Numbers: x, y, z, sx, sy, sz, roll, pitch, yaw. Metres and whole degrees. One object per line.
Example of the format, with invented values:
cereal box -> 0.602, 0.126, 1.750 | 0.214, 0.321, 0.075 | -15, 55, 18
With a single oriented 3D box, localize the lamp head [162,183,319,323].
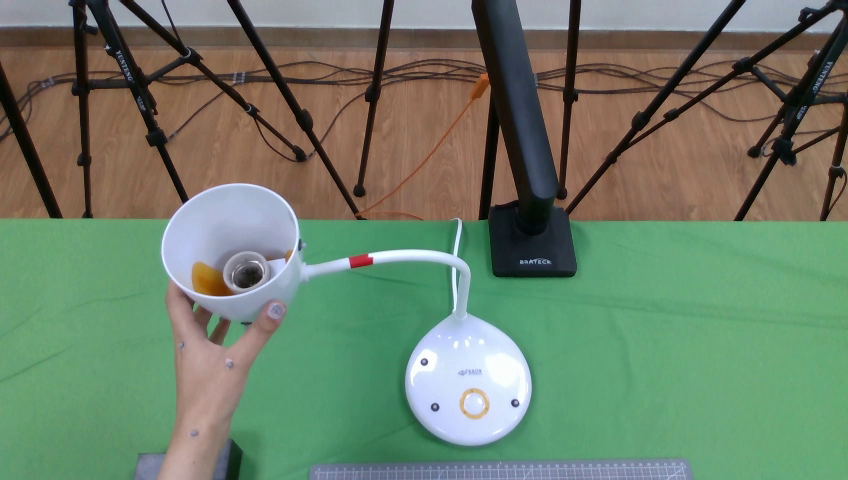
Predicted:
lamp head -> -0.157, 0.024, 0.552 | 0.112, 0.124, 0.111 | -2, 62, 4

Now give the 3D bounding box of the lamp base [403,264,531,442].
lamp base -> 0.051, 0.122, 0.708 | 0.161, 0.182, 0.177 | -13, 55, -9
